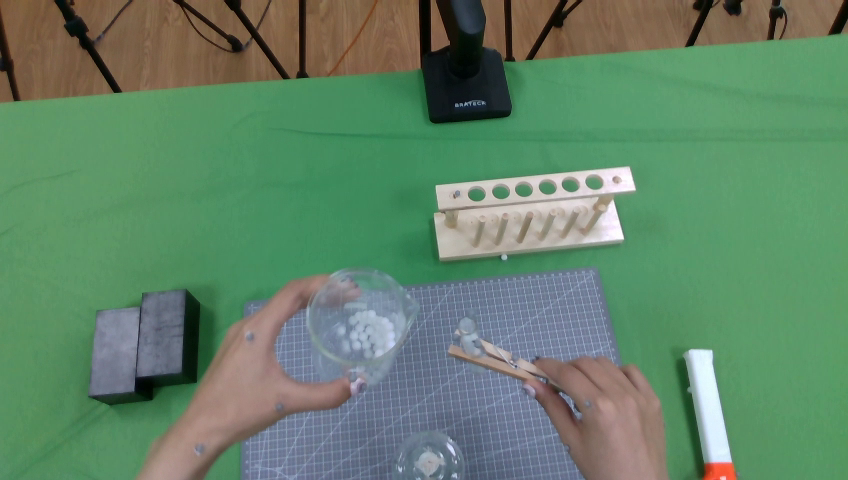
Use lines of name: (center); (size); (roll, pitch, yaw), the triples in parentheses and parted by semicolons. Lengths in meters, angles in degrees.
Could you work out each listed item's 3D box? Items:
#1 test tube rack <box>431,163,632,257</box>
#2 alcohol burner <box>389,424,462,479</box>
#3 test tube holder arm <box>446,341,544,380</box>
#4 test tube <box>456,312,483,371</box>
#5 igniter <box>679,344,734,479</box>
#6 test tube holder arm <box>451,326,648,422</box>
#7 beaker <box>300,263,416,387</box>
test tube rack: (0.134, -0.036, 0.767); (0.242, 0.086, 0.066); (-6, 66, -4)
alcohol burner: (0.002, 0.227, 0.628); (0.078, 0.120, 0.077); (1, 64, -1)
test tube holder arm: (0.062, 0.105, 0.529); (0.087, 0.015, 0.010); (15, 76, 8)
test tube: (0.041, 0.092, 0.531); (0.017, 0.151, 0.017); (-3, 65, 7)
igniter: (0.324, 0.252, 0.674); (0.057, 0.025, 0.274); (5, 66, -10)
test tube holder arm: (0.106, 0.115, 0.523); (0.178, 0.015, 0.013); (22, 77, 10)
beaker: (-0.053, 0.071, 0.474); (0.084, 0.101, 0.073); (-11, 67, -14)
